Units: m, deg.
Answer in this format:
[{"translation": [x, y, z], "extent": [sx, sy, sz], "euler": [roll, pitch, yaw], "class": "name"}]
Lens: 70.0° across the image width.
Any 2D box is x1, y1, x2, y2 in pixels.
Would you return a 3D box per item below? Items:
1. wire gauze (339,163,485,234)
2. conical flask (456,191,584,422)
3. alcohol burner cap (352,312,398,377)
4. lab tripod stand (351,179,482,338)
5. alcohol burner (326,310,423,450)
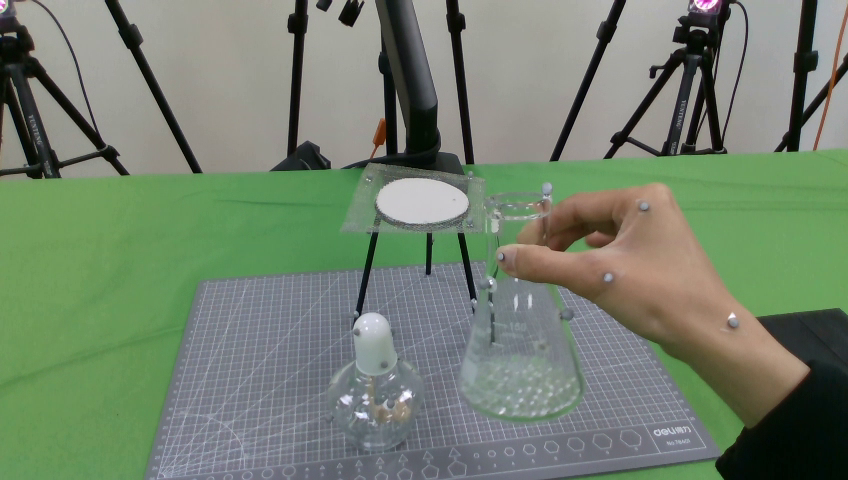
[{"translation": [-0.006, -0.038, 0.557], "extent": [0.121, 0.011, 0.124], "euler": [5, 33, 4], "class": "wire gauze"}, {"translation": [0.053, 0.034, 0.345], "extent": [0.075, 0.122, 0.075], "euler": [-3, 15, 1], "class": "conical flask"}, {"translation": [-0.038, 0.076, 0.454], "extent": [0.034, 0.048, 0.033], "euler": [-4, 36, 3], "class": "alcohol burner cap"}, {"translation": [0.000, 0.019, 0.594], "extent": [0.148, 0.132, 0.147], "euler": [3, 32, -1], "class": "lab tripod stand"}, {"translation": [-0.039, 0.105, 0.474], "extent": [0.078, 0.120, 0.077], "euler": [0, 31, 0], "class": "alcohol burner"}]
